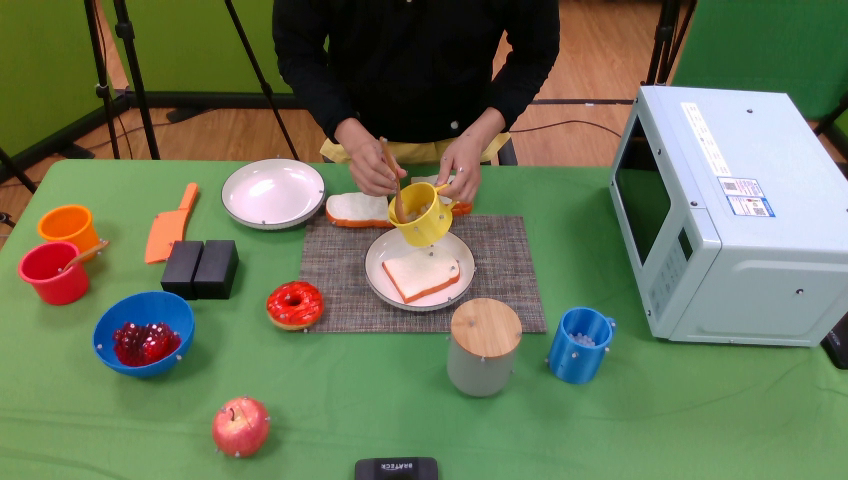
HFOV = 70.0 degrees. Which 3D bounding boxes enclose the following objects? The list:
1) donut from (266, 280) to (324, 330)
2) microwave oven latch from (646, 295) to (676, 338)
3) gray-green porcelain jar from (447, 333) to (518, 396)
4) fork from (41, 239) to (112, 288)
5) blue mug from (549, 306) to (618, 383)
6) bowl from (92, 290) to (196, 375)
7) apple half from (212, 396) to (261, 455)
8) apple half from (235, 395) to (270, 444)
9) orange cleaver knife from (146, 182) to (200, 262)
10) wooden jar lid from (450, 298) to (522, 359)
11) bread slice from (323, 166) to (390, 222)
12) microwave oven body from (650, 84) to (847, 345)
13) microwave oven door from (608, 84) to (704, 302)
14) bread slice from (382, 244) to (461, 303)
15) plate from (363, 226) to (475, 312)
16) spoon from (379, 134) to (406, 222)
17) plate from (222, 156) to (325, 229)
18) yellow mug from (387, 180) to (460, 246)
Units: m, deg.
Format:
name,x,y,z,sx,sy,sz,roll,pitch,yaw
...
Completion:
name,x,y,z,sx,sy,sz,roll,pitch,yaw
donut,-0.223,0.112,1.051,0.099,0.048,0.098,2,46,-2
microwave oven latch,0.413,0.133,1.060,0.030,0.029,0.078,4,46,1
gray-green porcelain jar,0.091,0.178,0.960,0.106,0.127,0.105,2,46,-2
fork,-0.591,0.040,1.028,0.207,0.019,0.028,-27,37,29
blue mug,0.269,0.167,0.997,0.116,0.106,0.082,-19,51,-21
bowl,-0.436,0.161,0.971,0.151,0.077,0.150,2,46,-2
apple half,-0.276,0.276,0.877,0.053,0.075,0.080,-29,58,-21
apple half,-0.245,0.259,0.893,0.033,0.082,0.081,-29,55,-22
orange cleaver knife,-0.494,-0.039,1.198,0.077,0.012,0.210,-3,48,2
wooden jar lid,0.093,0.135,0.914,0.108,0.021,0.107,3,48,-3
bread slice,-0.140,-0.092,1.224,0.134,0.018,0.106,-19,51,6
microwave oven body,0.569,-0.054,1.116,0.326,0.261,0.439,2,46,-1
microwave oven door,0.424,-0.096,1.138,0.039,0.245,0.353,2,47,-1
bread slice,0.000,0.054,1.130,0.131,0.019,0.104,-21,53,-19
plate,-0.009,0.054,1.126,0.208,0.039,0.206,2,46,-2
spoon,-0.049,-0.094,1.013,0.021,0.195,0.041,-22,41,-15
plate,-0.308,-0.094,1.251,0.209,0.038,0.208,2,47,-2
yellow mug,0.006,-0.057,1.076,0.131,0.064,0.099,-35,41,2
